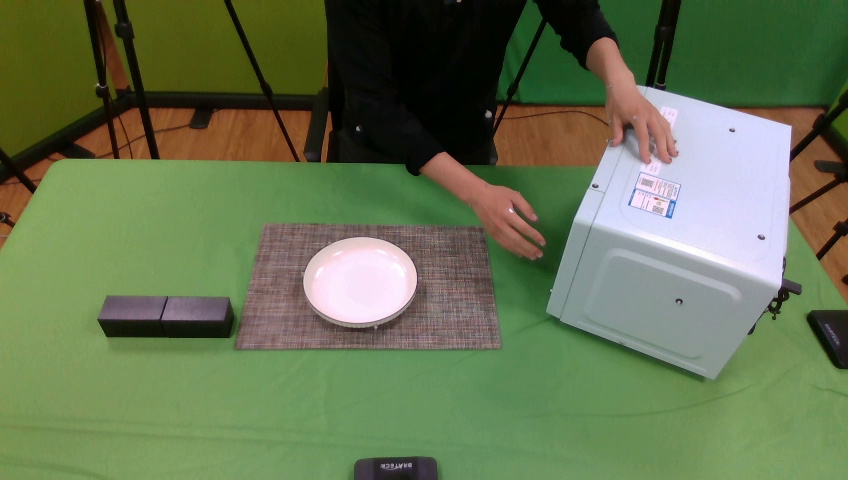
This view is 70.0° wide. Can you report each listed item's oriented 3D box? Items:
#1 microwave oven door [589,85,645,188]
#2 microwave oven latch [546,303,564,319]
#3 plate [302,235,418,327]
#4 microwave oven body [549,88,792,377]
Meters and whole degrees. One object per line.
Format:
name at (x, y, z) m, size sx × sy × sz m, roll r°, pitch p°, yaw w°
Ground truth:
microwave oven door at (0.342, -0.107, 1.149) m, size 0.039 × 0.245 × 0.354 m, roll 20°, pitch 48°, yaw 15°
microwave oven latch at (0.242, 0.102, 1.081) m, size 0.030 × 0.029 × 0.079 m, roll 22°, pitch 48°, yaw 17°
plate at (-0.114, 0.077, 1.098) m, size 0.208 × 0.039 × 0.206 m, roll 2°, pitch 46°, yaw -2°
microwave oven body at (0.456, -0.028, 1.088) m, size 0.325 × 0.261 × 0.440 m, roll 20°, pitch 47°, yaw 16°
